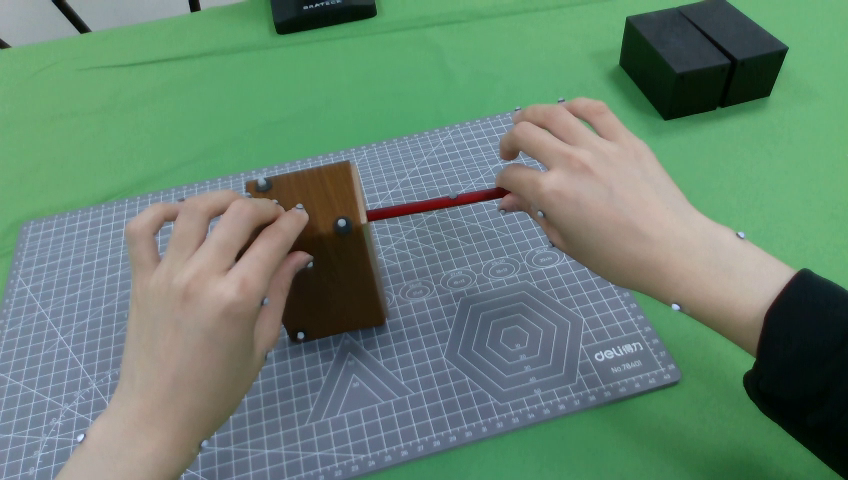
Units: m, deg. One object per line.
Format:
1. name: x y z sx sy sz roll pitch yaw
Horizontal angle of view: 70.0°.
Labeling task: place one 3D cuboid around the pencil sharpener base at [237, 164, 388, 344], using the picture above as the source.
1. pencil sharpener base: -0.071 0.013 0.400 0.077 0.108 0.060 -12 48 -4

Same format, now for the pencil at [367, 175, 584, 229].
1. pencil: 0.009 -0.020 0.388 0.194 0.012 0.012 -11 48 -4

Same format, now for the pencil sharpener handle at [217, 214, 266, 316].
1. pencil sharpener handle: -0.121 0.018 0.383 0.031 0.068 0.035 -12 29 -4
